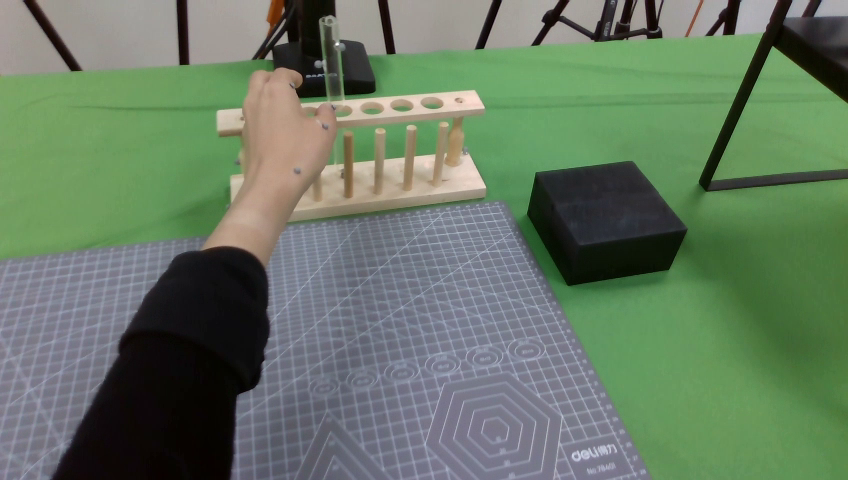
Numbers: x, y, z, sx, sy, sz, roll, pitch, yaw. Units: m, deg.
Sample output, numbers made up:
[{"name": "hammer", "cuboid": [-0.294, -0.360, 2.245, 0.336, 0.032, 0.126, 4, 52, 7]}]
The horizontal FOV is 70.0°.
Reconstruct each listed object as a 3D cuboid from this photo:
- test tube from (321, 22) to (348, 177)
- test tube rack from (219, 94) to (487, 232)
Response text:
[{"name": "test tube", "cuboid": [-0.079, -0.121, 0.550, 0.017, 0.151, 0.017, 0, 41, 0]}, {"name": "test tube rack", "cuboid": [-0.060, -0.075, 0.575, 0.243, 0.086, 0.066, -8, 44, -12]}]
